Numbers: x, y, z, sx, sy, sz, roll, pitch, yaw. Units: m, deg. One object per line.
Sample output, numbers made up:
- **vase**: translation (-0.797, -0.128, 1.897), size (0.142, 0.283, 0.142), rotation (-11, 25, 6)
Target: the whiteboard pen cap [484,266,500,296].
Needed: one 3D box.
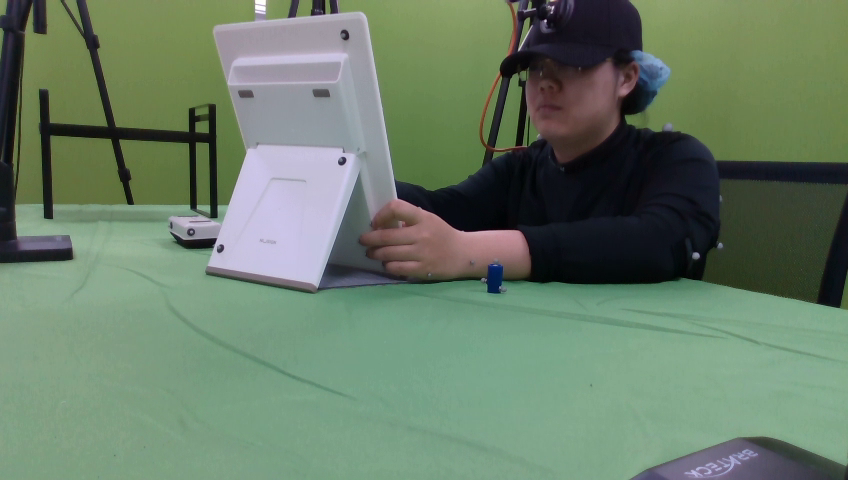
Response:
- **whiteboard pen cap**: translation (0.075, 0.046, 0.668), size (0.018, 0.033, 0.018), rotation (3, 7, 0)

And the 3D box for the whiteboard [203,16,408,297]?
- **whiteboard**: translation (-0.166, -0.072, 0.668), size (0.216, 0.305, 0.144), rotation (8, 30, 30)

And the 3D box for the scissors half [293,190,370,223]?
- **scissors half**: translation (-0.205, -0.077, 1.338), size (0.175, 0.040, 0.013), rotation (22, 11, -8)

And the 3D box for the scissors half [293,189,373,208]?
- **scissors half**: translation (-0.201, -0.096, 1.332), size (0.175, 0.040, 0.013), rotation (5, 18, -4)

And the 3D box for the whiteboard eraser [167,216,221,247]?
- **whiteboard eraser**: translation (-0.350, -0.013, 0.920), size (0.056, 0.042, 0.112), rotation (0, 7, -35)

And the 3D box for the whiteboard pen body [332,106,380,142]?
- **whiteboard pen body**: translation (-0.085, -0.145, 0.757), size (0.017, 0.017, 0.141), rotation (5, 27, 16)
